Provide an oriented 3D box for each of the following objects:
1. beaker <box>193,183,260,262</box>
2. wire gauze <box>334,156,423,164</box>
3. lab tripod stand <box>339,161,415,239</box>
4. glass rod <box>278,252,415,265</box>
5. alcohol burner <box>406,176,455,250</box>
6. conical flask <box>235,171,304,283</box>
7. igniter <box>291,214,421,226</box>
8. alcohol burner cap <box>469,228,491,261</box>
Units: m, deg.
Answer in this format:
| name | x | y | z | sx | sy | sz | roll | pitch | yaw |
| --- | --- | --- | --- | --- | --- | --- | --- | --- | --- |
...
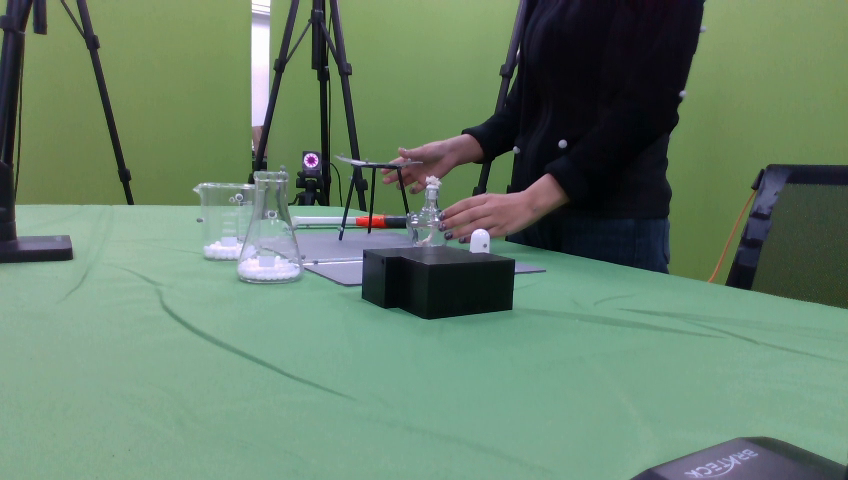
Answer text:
| name | x | y | z | sx | sy | sz | roll | pitch | yaw |
| --- | --- | --- | --- | --- | --- | --- | --- | --- | --- |
| beaker | -0.262 | -0.025 | 0.806 | 0.084 | 0.100 | 0.073 | -3 | 9 | -30 |
| wire gauze | -0.081 | -0.137 | 1.051 | 0.122 | 0.011 | 0.124 | 0 | 8 | -29 |
| lab tripod stand | -0.082 | -0.070 | 1.059 | 0.148 | 0.131 | 0.148 | 4 | 6 | 0 |
| glass rod | -0.097 | 0.024 | 0.805 | 0.201 | 0.008 | 0.008 | -3 | 8 | -33 |
| alcohol burner | 0.012 | -0.044 | 0.963 | 0.078 | 0.119 | 0.078 | 4 | 7 | 0 |
| conical flask | -0.172 | -0.016 | 0.677 | 0.075 | 0.122 | 0.075 | 2 | 7 | 0 |
| igniter | -0.135 | -0.041 | 1.250 | 0.278 | 0.025 | 0.057 | -1 | -3 | -28 |
| alcohol burner cap | 0.082 | 0.006 | 0.878 | 0.034 | 0.048 | 0.034 | 2 | 7 | 0 |
